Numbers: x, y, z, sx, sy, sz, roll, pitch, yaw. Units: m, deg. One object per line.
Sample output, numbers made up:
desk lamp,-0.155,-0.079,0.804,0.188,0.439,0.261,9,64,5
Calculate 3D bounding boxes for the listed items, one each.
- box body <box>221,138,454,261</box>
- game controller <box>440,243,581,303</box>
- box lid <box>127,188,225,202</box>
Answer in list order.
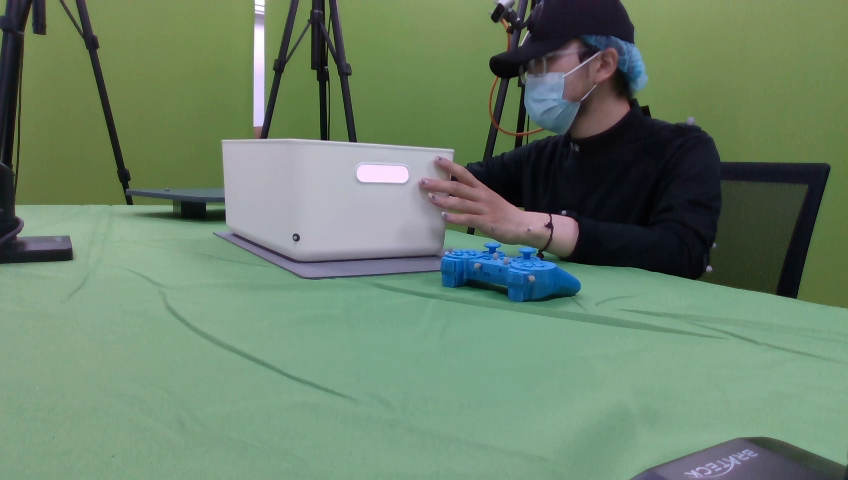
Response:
box body,-0.152,-0.074,0.963,0.255,0.160,0.362,-3,9,-33
game controller,0.090,0.033,0.686,0.154,0.051,0.097,8,13,42
box lid,-0.449,-0.106,1.394,0.262,0.015,0.373,6,8,27
